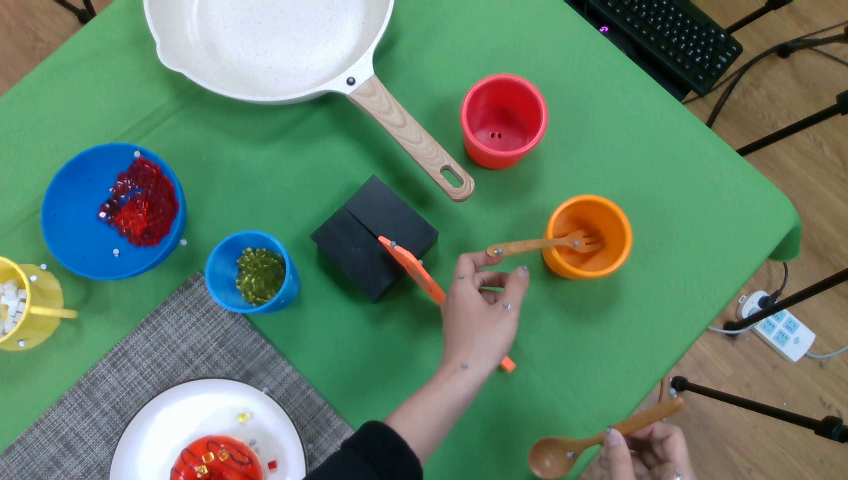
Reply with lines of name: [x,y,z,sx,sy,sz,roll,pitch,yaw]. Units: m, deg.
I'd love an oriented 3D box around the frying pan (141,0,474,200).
frying pan: [-0.114,-0.220,0.702,0.307,0.103,0.485,-40,75,-6]

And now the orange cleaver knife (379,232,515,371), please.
orange cleaver knife: [0.026,0.068,0.666,0.012,0.076,0.213,-45,112,-8]

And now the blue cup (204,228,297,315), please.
blue cup: [-0.178,0.040,0.657,0.093,0.100,0.092,0,77,-1]

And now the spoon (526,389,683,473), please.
spoon: [0.164,0.181,0.569,0.022,0.194,0.041,-17,70,-41]

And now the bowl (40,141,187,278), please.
bowl: [-0.331,-0.027,0.678,0.151,0.077,0.151,0,80,-1]

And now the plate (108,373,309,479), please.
plate: [-0.225,0.248,0.648,0.209,0.038,0.208,0,80,-1]

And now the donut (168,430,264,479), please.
donut: [-0.218,0.250,0.636,0.099,0.048,0.099,0,83,-3]

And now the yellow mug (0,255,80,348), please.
yellow mug: [-0.448,0.070,0.665,0.131,0.064,0.099,8,80,0]

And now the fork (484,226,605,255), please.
fork: [0.134,0.001,0.645,0.208,0.018,0.028,-5,75,-46]
